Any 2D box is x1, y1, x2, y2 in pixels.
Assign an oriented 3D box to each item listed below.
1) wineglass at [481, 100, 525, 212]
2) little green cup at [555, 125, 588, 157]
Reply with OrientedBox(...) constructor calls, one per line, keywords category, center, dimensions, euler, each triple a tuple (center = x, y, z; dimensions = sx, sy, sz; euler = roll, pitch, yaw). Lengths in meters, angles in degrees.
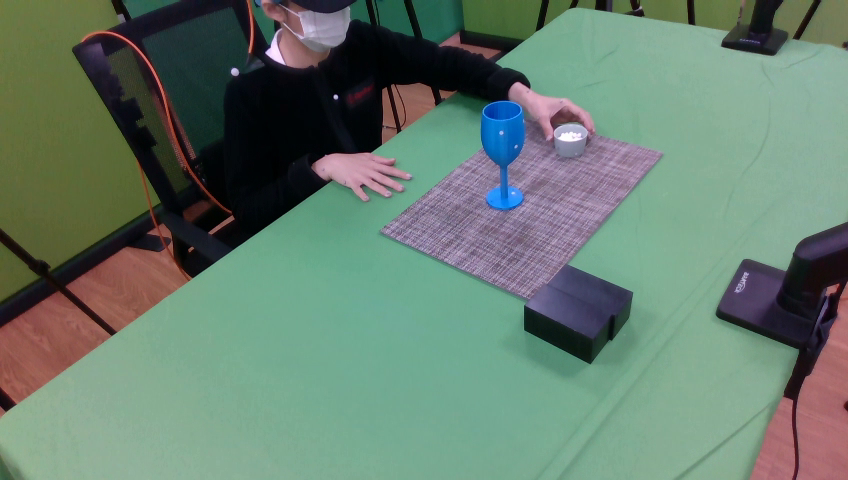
OrientedBox(category="wineglass", center=(0.131, -0.136, 0.992), dimensions=(0.074, 0.173, 0.073), euler=(-5, 40, 4))
OrientedBox(category="little green cup", center=(0.274, -0.184, 1.130), dimensions=(0.061, 0.039, 0.061), euler=(-4, 41, 4))
